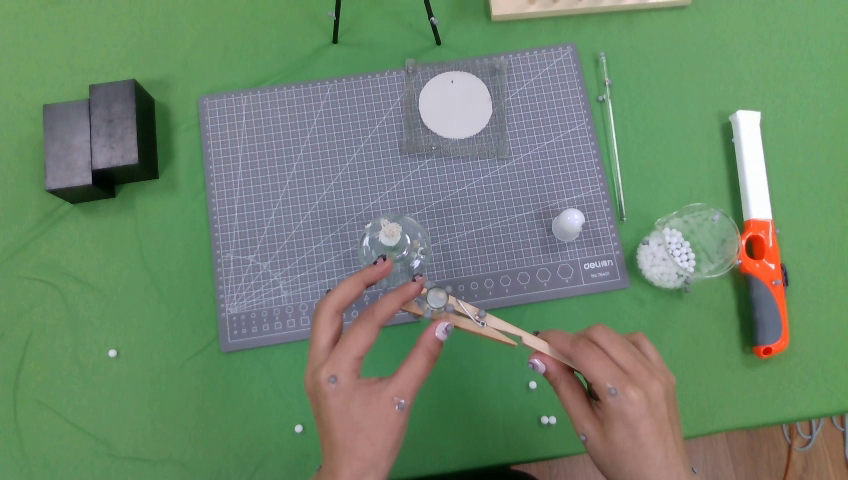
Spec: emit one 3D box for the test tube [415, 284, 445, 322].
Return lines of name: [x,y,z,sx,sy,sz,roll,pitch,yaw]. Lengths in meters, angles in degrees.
test tube: [0.003,0.050,0.458,0.017,0.150,0.017,1,79,-3]

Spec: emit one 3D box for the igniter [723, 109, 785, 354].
igniter: [0.364,-0.013,0.672,0.057,0.025,0.275,1,78,-10]

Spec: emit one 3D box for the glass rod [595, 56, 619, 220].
glass rod: [0.213,-0.120,0.703,0.008,0.008,0.199,-3,81,-1]

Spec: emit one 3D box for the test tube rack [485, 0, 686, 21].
test tube rack: [0.195,-0.318,0.705,0.242,0.085,0.066,-5,78,-1]

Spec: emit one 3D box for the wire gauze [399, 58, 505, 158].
wire gauze: [0.033,-0.157,0.707,0.125,0.011,0.121,2,79,-1]

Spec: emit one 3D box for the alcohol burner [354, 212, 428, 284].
alcohol burner: [-0.035,0.004,0.619,0.078,0.119,0.077,0,77,2]

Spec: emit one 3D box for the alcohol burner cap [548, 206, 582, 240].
alcohol burner cap: [0.156,-0.021,0.662,0.034,0.048,0.033,0,78,0]

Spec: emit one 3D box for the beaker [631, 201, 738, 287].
beaker: [0.262,0.008,0.630,0.084,0.100,0.074,22,78,6]

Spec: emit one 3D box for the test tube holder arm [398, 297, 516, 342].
test tube holder arm: [0.024,0.057,0.436,0.088,0.015,0.010,15,87,2]

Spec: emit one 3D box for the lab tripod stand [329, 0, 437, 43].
lab tripod stand: [-0.049,-0.285,0.672,0.148,0.132,0.148,0,80,0]

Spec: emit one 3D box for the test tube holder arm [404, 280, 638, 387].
test tube holder arm: [0.069,0.067,0.435,0.178,0.015,0.013,21,87,2]
